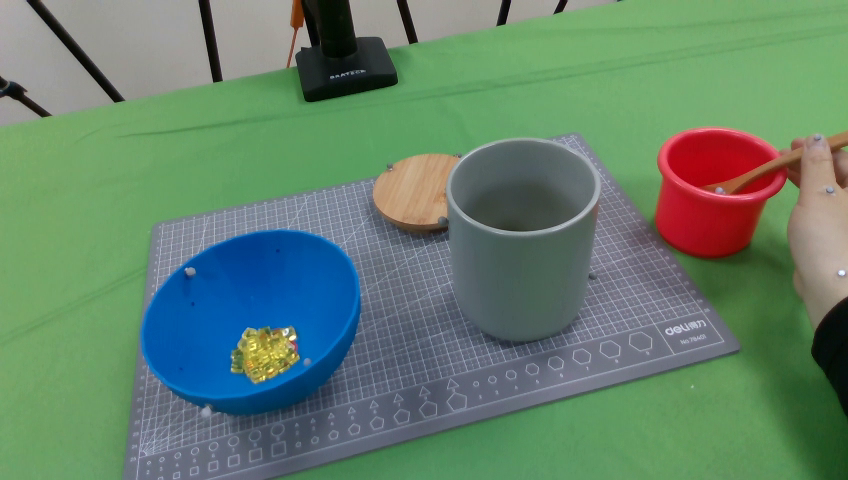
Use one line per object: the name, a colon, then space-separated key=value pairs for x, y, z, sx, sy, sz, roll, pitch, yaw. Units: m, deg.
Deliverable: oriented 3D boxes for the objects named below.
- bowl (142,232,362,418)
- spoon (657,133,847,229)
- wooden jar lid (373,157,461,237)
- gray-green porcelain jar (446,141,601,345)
bowl: x=-0.114 y=0.073 z=0.445 sx=0.151 sy=0.077 sz=0.150 roll=-3 pitch=44 yaw=4
spoon: x=0.276 y=-0.052 z=0.481 sx=0.022 sy=0.193 sz=0.041 roll=38 pitch=49 yaw=-20
wooden jar lid: x=0.006 y=-0.041 z=0.589 sx=0.108 sy=0.021 sz=0.107 roll=-4 pitch=43 yaw=4
gray-green porcelain jar: x=0.073 y=0.008 z=0.453 sx=0.106 sy=0.128 sz=0.105 roll=-4 pitch=44 yaw=4
